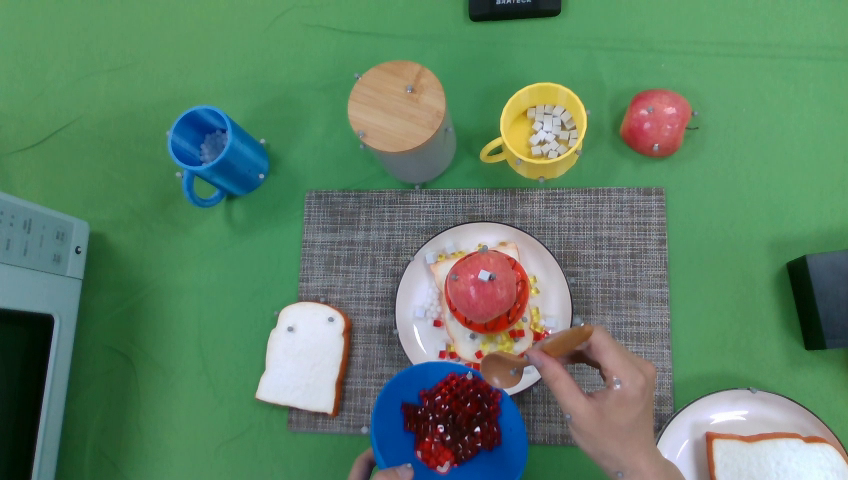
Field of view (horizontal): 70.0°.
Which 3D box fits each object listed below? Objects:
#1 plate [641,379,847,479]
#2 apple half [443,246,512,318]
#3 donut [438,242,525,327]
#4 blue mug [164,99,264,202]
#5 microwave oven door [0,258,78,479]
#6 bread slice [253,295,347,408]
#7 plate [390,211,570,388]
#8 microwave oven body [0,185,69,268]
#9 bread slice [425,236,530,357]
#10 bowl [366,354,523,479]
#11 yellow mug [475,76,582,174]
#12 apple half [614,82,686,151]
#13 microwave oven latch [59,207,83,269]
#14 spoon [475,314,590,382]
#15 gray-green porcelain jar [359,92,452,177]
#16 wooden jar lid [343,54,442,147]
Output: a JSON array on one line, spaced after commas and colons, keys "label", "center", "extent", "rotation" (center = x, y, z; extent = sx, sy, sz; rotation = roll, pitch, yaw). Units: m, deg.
[{"label": "plate", "center": [0.336, 0.252, 0.641], "extent": [0.209, 0.038, 0.208], "rotation": [-2, 79, 9]}, {"label": "apple half", "center": [0.057, 0.043, 0.653], "extent": [0.081, 0.033, 0.081], "rotation": [-4, 75, 15]}, {"label": "donut", "center": [0.066, 0.050, 0.688], "extent": [0.099, 0.048, 0.098], "rotation": [-2, 80, 10]}, {"label": "blue mug", "center": [-0.268, -0.103, 0.765], "extent": [0.082, 0.106, 0.116], "rotation": [21, 83, 12]}, {"label": "microwave oven door", "center": [-0.496, 0.193, 0.656], "extent": [0.039, 0.245, 0.354], "rotation": [0, 79, 10]}, {"label": "bread slice", "center": [-0.151, 0.133, 0.746], "extent": [0.104, 0.019, 0.131], "rotation": [8, 82, 9]}, {"label": "plate", "center": [0.065, 0.071, 0.713], "extent": [0.207, 0.039, 0.207], "rotation": [-2, 80, 9]}, {"label": "microwave oven body", "center": [-0.638, 0.152, 0.691], "extent": [0.325, 0.261, 0.440], "rotation": [1, 80, 9]}, {"label": "bread slice", "center": [0.070, 0.069, 0.712], "extent": [0.107, 0.018, 0.133], "rotation": [-16, 79, 6]}, {"label": "bowl", "center": [0.013, 0.195, 0.589], "extent": [0.152, 0.077, 0.150], "rotation": [9, 43, -8]}, {"label": "yellow mug", "center": [0.123, -0.131, 0.731], "extent": [0.131, 0.064, 0.099], "rotation": [-22, 77, 5]}, {"label": "apple half", "center": [0.270, -0.153, 0.719], "extent": [0.074, 0.053, 0.080], "rotation": [23, 84, 15]}, {"label": "microwave oven latch", "center": [-0.470, -0.003, 0.793], "extent": [0.030, 0.029, 0.079], "rotation": [4, 81, 9]}, {"label": "spoon", "center": [0.089, 0.095, 0.517], "extent": [0.041, 0.194, 0.021], "rotation": [46, 66, 3]}, {"label": "gray-green porcelain jar", "center": [-0.023, -0.138, 0.723], "extent": [0.106, 0.127, 0.105], "rotation": [-2, 79, 9]}, {"label": "wooden jar lid", "center": [-0.034, -0.150, 0.661], "extent": [0.108, 0.021, 0.108], "rotation": [-1, 77, 6]}]
